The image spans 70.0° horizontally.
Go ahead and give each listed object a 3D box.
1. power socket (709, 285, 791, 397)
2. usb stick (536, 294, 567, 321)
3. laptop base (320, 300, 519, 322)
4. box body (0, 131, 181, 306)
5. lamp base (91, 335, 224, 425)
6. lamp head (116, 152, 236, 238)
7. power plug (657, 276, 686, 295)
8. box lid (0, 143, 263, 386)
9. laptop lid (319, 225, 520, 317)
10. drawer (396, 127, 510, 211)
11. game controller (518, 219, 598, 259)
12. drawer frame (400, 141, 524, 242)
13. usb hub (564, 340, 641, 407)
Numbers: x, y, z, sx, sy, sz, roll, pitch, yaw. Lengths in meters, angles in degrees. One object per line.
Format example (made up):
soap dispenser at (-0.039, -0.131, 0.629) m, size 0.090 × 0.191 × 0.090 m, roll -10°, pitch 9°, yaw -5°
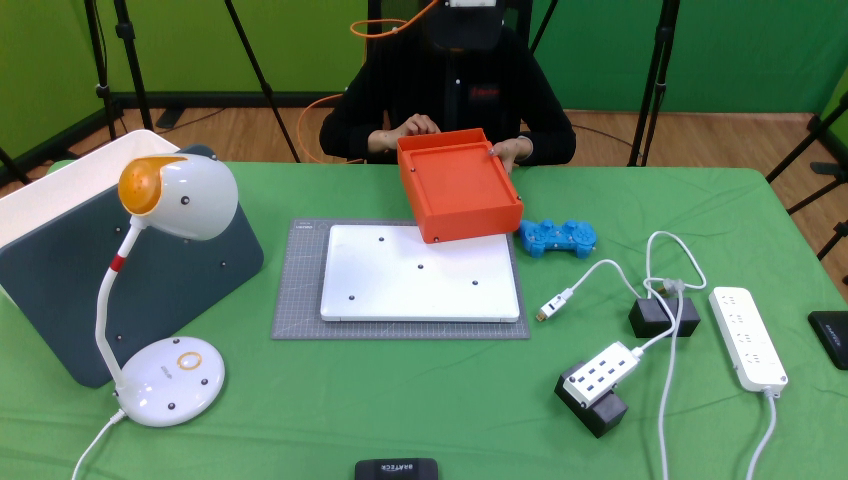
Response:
power socket at (0.568, 0.168, 1.064) m, size 0.072 × 0.033 × 0.225 m, roll 2°, pitch 46°, yaw 0°
usb stick at (0.226, 0.123, 1.083) m, size 0.059 × 0.027 × 0.021 m, roll -38°, pitch 77°, yaw -8°
laptop base at (-0.008, 0.062, 1.138) m, size 0.354 × 0.023 × 0.234 m, roll 0°, pitch 43°, yaw -3°
box body at (-0.550, -0.007, 1.068) m, size 0.253 × 0.161 × 0.363 m, roll 30°, pitch 51°, yaw 23°
lamp base at (-0.401, 0.171, 0.892) m, size 0.160 × 0.181 × 0.179 m, roll 30°, pitch 53°, yaw 23°
lamp head at (-0.315, -0.057, 0.748) m, size 0.112 × 0.112 × 0.123 m, roll 26°, pitch 10°, yaw 20°
power plug at (0.450, 0.087, 1.113) m, size 0.073 × 0.052 × 0.035 m, roll -13°, pitch 71°, yaw -55°
box lid at (-0.444, 0.032, 0.979) m, size 0.015 × 0.264 × 0.371 m, roll 13°, pitch 42°, yaw 41°
laptop lid at (-0.008, 0.052, 1.131) m, size 0.357 × 0.013 × 0.240 m, roll 2°, pitch 44°, yaw -2°
drawer at (0.056, -0.141, 1.270) m, size 0.195 × 0.073 × 0.210 m, roll -8°, pitch 46°, yaw -10°
game controller at (0.270, -0.012, 1.210) m, size 0.155 × 0.052 × 0.096 m, roll 1°, pitch 50°, yaw -2°
drawer frame at (0.071, -0.104, 1.233) m, size 0.202 × 0.083 × 0.212 m, roll -8°, pitch 46°, yaw -12°
usb hub at (0.278, 0.205, 0.944) m, size 0.125 × 0.025 × 0.049 m, roll -27°, pitch 52°, yaw -28°
